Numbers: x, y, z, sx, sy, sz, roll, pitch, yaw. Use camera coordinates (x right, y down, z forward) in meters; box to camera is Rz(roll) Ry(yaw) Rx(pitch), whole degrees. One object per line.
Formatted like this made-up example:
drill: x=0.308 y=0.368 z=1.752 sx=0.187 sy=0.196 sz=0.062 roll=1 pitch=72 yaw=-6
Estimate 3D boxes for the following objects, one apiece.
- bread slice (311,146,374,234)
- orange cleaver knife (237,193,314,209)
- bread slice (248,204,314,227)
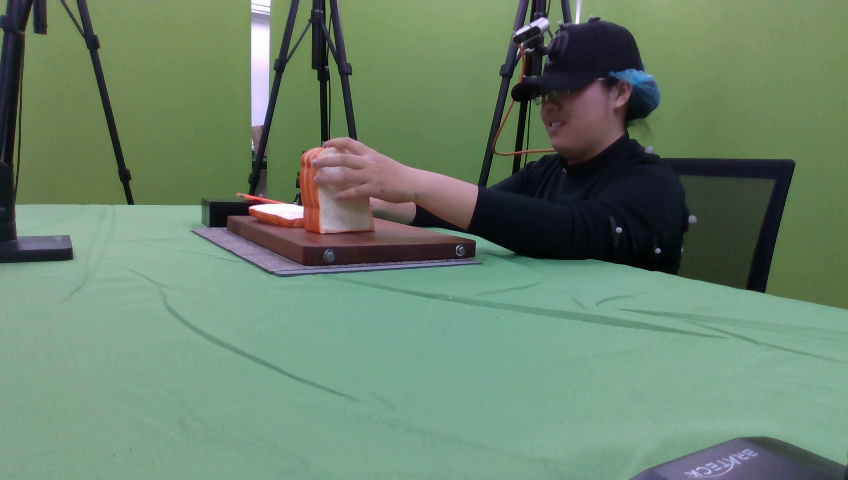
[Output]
bread slice: x=-0.129 y=-0.075 z=0.923 sx=0.018 sy=0.134 sz=0.107 roll=-6 pitch=2 yaw=44
orange cleaver knife: x=-0.271 y=-0.070 z=1.232 sx=0.212 sy=0.012 sz=0.077 roll=12 pitch=1 yaw=-26
bread slice: x=-0.228 y=-0.042 z=1.022 sx=0.131 sy=0.019 sz=0.105 roll=14 pitch=14 yaw=37
